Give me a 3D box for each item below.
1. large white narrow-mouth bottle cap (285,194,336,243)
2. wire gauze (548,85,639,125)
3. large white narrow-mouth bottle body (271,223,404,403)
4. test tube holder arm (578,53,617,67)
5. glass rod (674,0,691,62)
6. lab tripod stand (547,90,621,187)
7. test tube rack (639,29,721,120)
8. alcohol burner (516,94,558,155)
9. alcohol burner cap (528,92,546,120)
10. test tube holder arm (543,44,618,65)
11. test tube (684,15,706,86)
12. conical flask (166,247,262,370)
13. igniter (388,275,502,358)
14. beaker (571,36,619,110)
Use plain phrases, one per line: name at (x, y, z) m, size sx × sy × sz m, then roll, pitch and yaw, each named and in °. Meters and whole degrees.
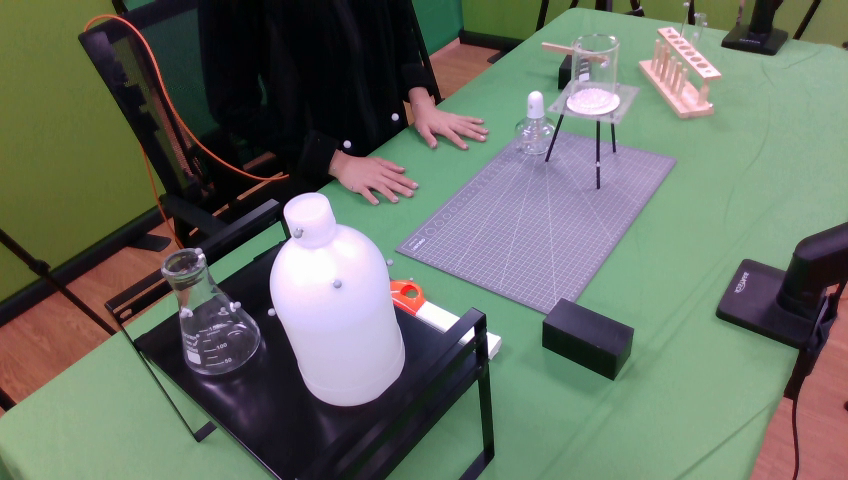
large white narrow-mouth bottle cap at (-0.087, -0.017, 0.468) m, size 0.038 × 0.024 × 0.037 m, roll -5°, pitch 40°, yaw 4°
wire gauze at (0.286, -0.233, 1.020) m, size 0.124 × 0.011 × 0.122 m, roll 15°, pitch 44°, yaw 30°
large white narrow-mouth bottle body at (-0.077, 0.048, 0.525) m, size 0.102 × 0.195 × 0.101 m, roll -5°, pitch 40°, yaw 5°
test tube holder arm at (0.376, -0.393, 1.314) m, size 0.087 × 0.015 × 0.010 m, roll 26°, pitch 51°, yaw 32°
glass rod at (0.537, -0.437, 1.258) m, size 0.008 × 0.200 × 0.008 m, roll 0°, pitch 39°, yaw 1°
lab tripod stand at (0.289, -0.184, 1.062) m, size 0.148 × 0.132 × 0.147 m, roll -6°, pitch 41°, yaw 6°
test tube rack at (0.527, -0.351, 1.262) m, size 0.067 × 0.085 × 0.241 m, roll -8°, pitch 40°, yaw 1°
alcohol burner at (0.212, -0.221, 1.135) m, size 0.078 × 0.119 × 0.077 m, roll -5°, pitch 43°, yaw 5°
alcohol burner cap at (0.206, -0.249, 1.112) m, size 0.034 × 0.048 × 0.033 m, roll -6°, pitch 34°, yaw 5°
test tube holder arm at (0.344, -0.412, 1.341) m, size 0.177 × 0.015 × 0.013 m, roll 25°, pitch 51°, yaw 31°
test tube at (0.541, -0.378, 1.216) m, size 0.017 × 0.151 × 0.017 m, roll -2°, pitch 44°, yaw 3°
conical flask at (-0.209, 0.063, 0.585) m, size 0.075 × 0.122 × 0.075 m, roll -5°, pitch 40°, yaw 4°
igniter at (-0.009, 0.094, 0.870) m, size 0.274 × 0.025 × 0.057 m, roll 25°, pitch 61°, yaw 33°
beaker at (0.281, -0.273, 0.992) m, size 0.084 × 0.101 × 0.073 m, roll -24°, pitch 42°, yaw -16°
